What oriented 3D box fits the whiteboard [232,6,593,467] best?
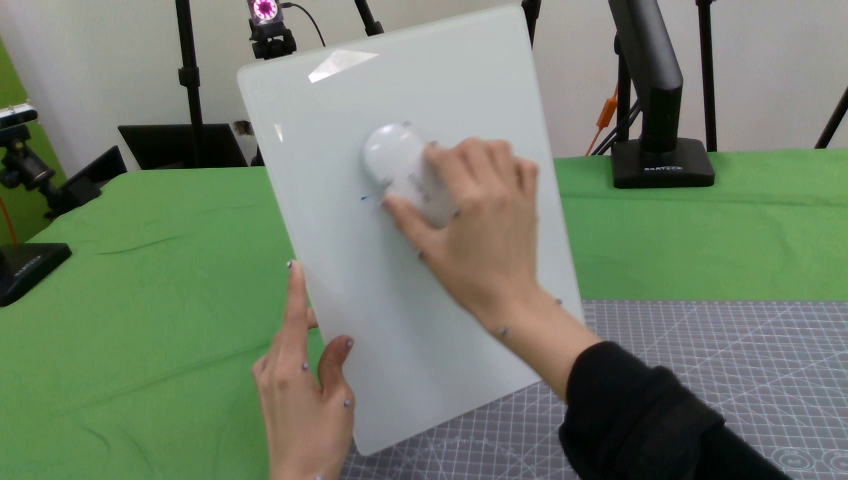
[{"bbox_3d":[-0.010,-0.011,0.524,0.217,0.307,0.143,-19,14,-15],"label":"whiteboard"}]

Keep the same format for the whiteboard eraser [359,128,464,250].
[{"bbox_3d":[-0.008,-0.036,0.440,0.041,0.102,0.018,-41,20,-10],"label":"whiteboard eraser"}]
